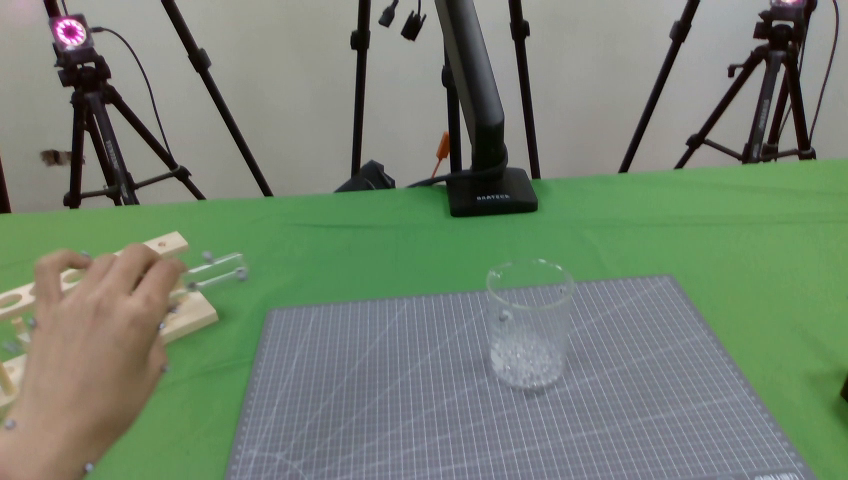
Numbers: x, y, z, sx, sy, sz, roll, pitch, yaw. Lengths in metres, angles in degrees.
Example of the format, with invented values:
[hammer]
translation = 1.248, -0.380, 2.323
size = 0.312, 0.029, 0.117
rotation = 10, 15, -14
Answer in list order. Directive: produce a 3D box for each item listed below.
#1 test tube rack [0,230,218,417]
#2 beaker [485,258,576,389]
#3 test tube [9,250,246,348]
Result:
[test tube rack]
translation = -0.339, 0.081, 0.590
size = 0.243, 0.086, 0.066
rotation = -25, 39, -30
[beaker]
translation = 0.090, 0.075, 0.542
size = 0.074, 0.101, 0.083
rotation = -28, 39, -34
[test tube]
translation = -0.192, 0.038, 0.399
size = 0.150, 0.017, 0.017
rotation = -20, 35, -11
